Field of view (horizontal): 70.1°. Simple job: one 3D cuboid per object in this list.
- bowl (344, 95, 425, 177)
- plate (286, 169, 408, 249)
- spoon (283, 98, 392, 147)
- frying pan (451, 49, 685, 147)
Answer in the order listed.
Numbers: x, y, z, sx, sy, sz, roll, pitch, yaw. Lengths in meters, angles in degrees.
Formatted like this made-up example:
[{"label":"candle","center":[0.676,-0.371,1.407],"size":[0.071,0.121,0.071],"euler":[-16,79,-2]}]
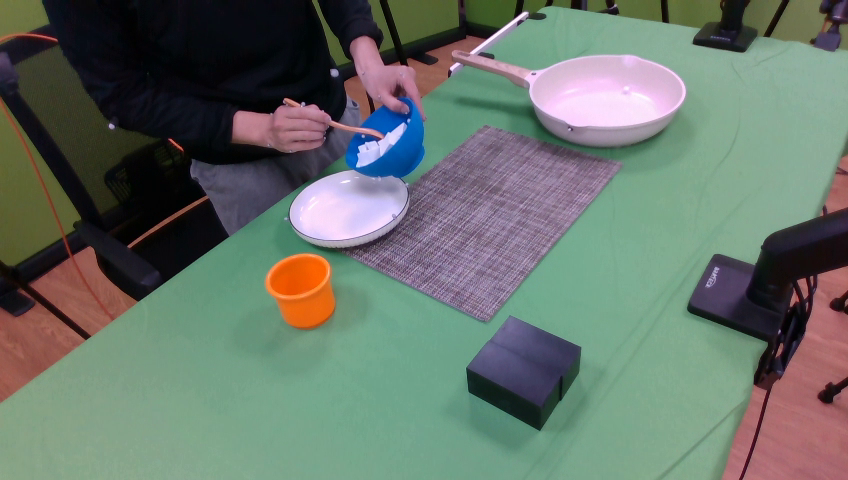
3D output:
[{"label":"bowl","center":[-0.051,-0.157,1.004],"size":[0.151,0.077,0.150],"euler":[-29,39,27]},{"label":"plate","center":[-0.127,-0.050,1.028],"size":[0.207,0.039,0.206],"euler":[-5,39,5]},{"label":"spoon","center":[-0.139,-0.192,0.996],"size":[0.195,0.021,0.041],"euler":[16,2,-21]},{"label":"frying pan","center":[0.269,-0.316,1.233],"size":[0.485,0.103,0.307],"euler":[26,49,21]}]
